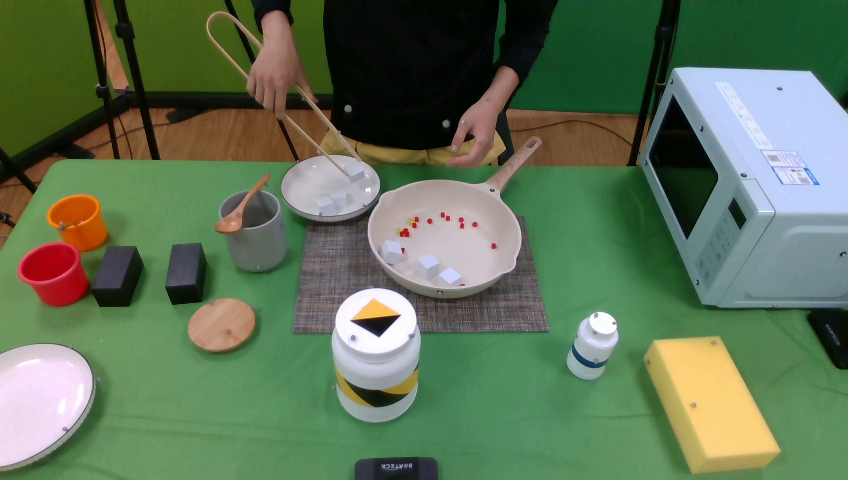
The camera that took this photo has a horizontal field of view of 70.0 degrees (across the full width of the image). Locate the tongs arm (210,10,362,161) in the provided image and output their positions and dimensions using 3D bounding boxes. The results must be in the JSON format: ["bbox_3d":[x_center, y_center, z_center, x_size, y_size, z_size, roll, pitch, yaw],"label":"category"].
[{"bbox_3d":[-0.265,-0.294,1.189,0.051,0.386,0.026,-41,13,-7],"label":"tongs arm"}]

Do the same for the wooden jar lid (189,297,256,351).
[{"bbox_3d":[-0.342,0.145,1.033,0.108,0.021,0.107,2,45,-2],"label":"wooden jar lid"}]

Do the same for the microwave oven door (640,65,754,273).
[{"bbox_3d":[0.523,-0.147,1.193,0.039,0.245,0.353,0,47,-3],"label":"microwave oven door"}]

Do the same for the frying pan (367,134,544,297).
[{"bbox_3d":[0.104,-0.069,1.205,0.305,0.103,0.487,32,61,23],"label":"frying pan"}]

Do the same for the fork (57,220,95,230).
[{"bbox_3d":[-0.624,-0.027,1.086,0.028,0.207,0.018,-3,92,-17],"label":"fork"}]

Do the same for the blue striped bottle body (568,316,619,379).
[{"bbox_3d":[0.276,0.168,0.984,0.063,0.121,0.062,2,46,-2],"label":"blue striped bottle body"}]

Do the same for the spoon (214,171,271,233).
[{"bbox_3d":[-0.312,-0.070,1.070,0.041,0.022,0.193,10,43,10],"label":"spoon"}]

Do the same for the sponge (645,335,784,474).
[{"bbox_3d":[0.449,0.253,0.956,0.118,0.061,0.205,-4,46,-7],"label":"sponge"}]

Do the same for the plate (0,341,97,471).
[{"bbox_3d":[-0.599,0.247,0.904,0.209,0.038,0.208,2,47,-2],"label":"plate"}]

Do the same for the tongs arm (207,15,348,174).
[{"bbox_3d":[-0.283,-0.275,1.185,0.028,0.388,0.027,-43,14,-3],"label":"tongs arm"}]

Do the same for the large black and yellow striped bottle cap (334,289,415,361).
[{"bbox_3d":[-0.069,0.117,0.850,0.115,0.019,0.114,2,45,-2],"label":"large black and yellow striped bottle cap"}]

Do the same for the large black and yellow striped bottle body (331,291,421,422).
[{"bbox_3d":[-0.071,0.175,0.911,0.131,0.185,0.130,2,47,-2],"label":"large black and yellow striped bottle body"}]

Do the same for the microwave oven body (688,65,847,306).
[{"bbox_3d":[0.669,-0.111,1.176,0.326,0.261,0.439,0,46,-3],"label":"microwave oven body"}]

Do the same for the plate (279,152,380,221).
[{"bbox_3d":[-0.196,-0.107,1.269,0.208,0.039,0.206,2,45,-2],"label":"plate"}]

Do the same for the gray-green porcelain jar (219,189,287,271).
[{"bbox_3d":[-0.310,-0.014,1.113,0.106,0.127,0.105,2,46,-2],"label":"gray-green porcelain jar"}]

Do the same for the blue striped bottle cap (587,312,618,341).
[{"bbox_3d":[0.279,0.134,0.947,0.044,0.021,0.044,2,45,-2],"label":"blue striped bottle cap"}]

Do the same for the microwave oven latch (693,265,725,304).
[{"bbox_3d":[0.523,0.081,1.116,0.030,0.029,0.078,2,46,-1],"label":"microwave oven latch"}]
